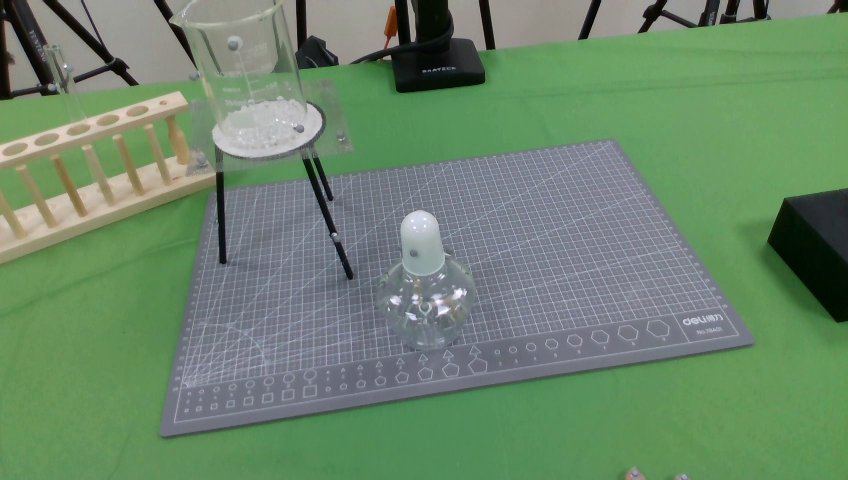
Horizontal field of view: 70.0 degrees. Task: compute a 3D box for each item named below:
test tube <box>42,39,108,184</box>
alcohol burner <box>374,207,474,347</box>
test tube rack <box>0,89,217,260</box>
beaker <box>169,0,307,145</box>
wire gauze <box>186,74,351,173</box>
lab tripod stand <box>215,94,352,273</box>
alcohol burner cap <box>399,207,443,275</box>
[{"bbox_3d":[-0.342,-0.121,0.597,0.017,0.151,0.017,0,36,0],"label":"test tube"},{"bbox_3d":[-0.001,0.025,0.459,0.078,0.120,0.077,-2,40,2],"label":"alcohol burner"},{"bbox_3d":[-0.346,-0.067,0.612,0.243,0.086,0.066,-24,46,-21],"label":"test tube rack"},{"bbox_3d":[-0.133,-0.129,0.453,0.084,0.101,0.073,-6,42,0],"label":"beaker"},{"bbox_3d":[-0.128,-0.095,0.488,0.125,0.011,0.120,-14,41,-6],"label":"wire gauze"},{"bbox_3d":[-0.124,-0.047,0.533,0.148,0.133,0.147,-3,44,3],"label":"lab tripod stand"},{"bbox_3d":[-0.004,-0.002,0.435,0.034,0.048,0.033,-3,44,3],"label":"alcohol burner cap"}]
